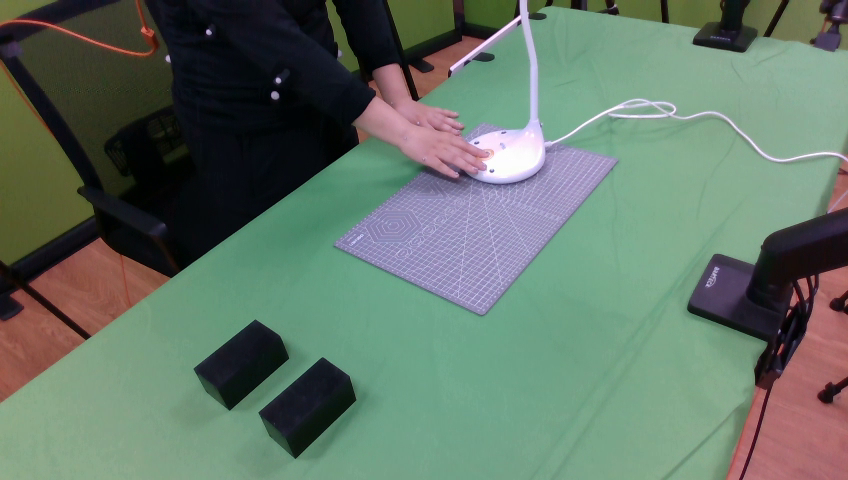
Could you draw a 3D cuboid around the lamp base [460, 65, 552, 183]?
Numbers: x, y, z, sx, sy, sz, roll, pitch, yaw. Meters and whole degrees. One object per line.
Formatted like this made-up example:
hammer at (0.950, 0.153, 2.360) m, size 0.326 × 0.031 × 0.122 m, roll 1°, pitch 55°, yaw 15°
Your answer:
lamp base at (0.149, -0.217, 1.078) m, size 0.180 × 0.181 × 0.159 m, roll -19°, pitch 41°, yaw -17°
